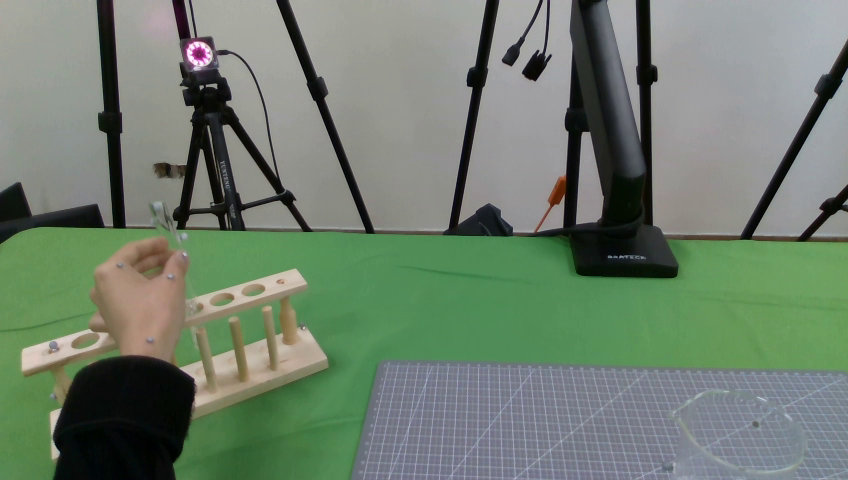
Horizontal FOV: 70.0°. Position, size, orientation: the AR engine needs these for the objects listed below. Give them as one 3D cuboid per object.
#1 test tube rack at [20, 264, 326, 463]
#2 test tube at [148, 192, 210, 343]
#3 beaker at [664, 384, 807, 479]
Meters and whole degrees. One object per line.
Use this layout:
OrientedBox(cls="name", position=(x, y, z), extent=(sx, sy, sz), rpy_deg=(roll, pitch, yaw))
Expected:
OrientedBox(cls="test tube rack", position=(-0.220, 0.106, 0.561), extent=(0.243, 0.086, 0.066), rpy_deg=(-17, 33, -25))
OrientedBox(cls="test tube", position=(-0.221, 0.029, 0.550), extent=(0.017, 0.151, 0.017), rpy_deg=(-6, 23, 3))
OrientedBox(cls="beaker", position=(0.203, 0.160, 0.416), extent=(0.083, 0.101, 0.074), rpy_deg=(12, 32, 26))
